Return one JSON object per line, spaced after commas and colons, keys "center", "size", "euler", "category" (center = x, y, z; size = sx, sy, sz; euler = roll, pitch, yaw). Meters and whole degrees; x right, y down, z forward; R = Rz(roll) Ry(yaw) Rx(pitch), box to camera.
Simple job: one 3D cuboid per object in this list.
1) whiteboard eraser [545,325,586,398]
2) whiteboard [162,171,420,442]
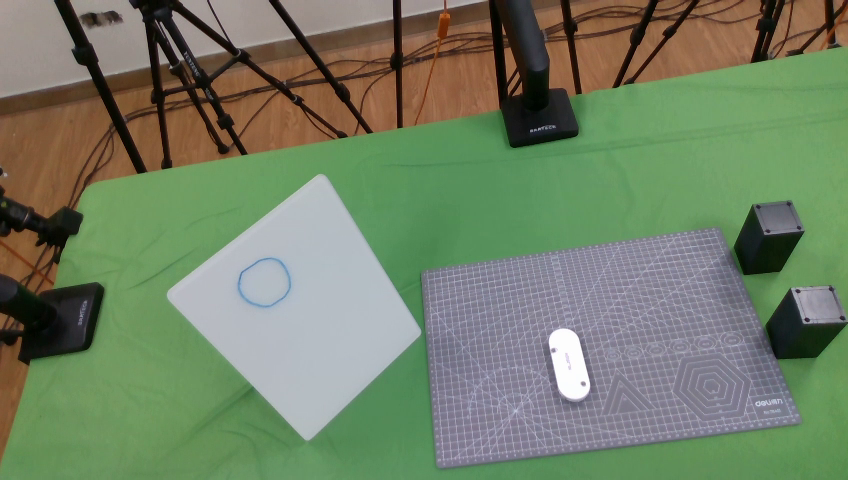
{"center": [0.189, 0.161, 0.810], "size": [0.041, 0.019, 0.100], "euler": [-8, 56, 4], "category": "whiteboard eraser"}
{"center": [-0.179, 0.075, 0.803], "size": [0.217, 0.309, 0.142], "euler": [-42, 39, -17], "category": "whiteboard"}
